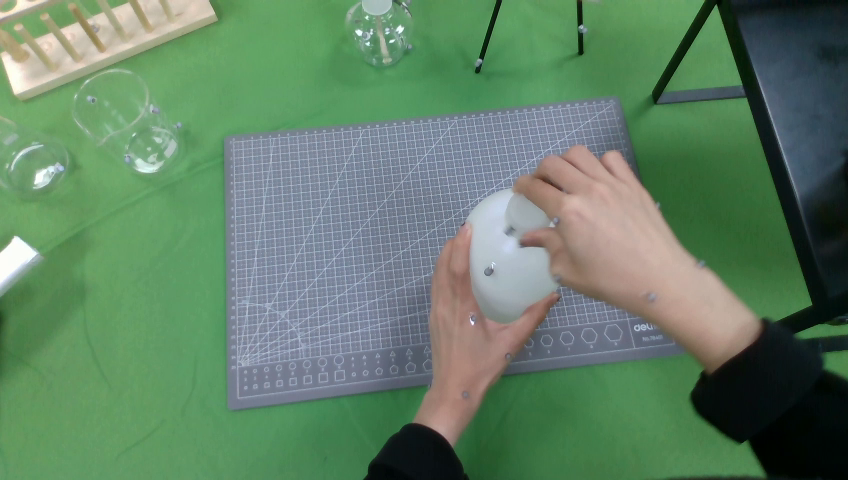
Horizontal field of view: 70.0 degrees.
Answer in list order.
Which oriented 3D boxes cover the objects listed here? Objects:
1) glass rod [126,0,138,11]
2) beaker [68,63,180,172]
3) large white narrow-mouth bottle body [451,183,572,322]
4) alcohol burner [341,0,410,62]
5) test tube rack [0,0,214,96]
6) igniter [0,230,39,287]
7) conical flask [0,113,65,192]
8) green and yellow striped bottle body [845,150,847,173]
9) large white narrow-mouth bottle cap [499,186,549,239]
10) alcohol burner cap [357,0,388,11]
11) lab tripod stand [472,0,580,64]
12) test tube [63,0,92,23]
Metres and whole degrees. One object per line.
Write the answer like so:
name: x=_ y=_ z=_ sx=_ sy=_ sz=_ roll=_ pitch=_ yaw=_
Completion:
glass rod: x=-0.356 y=-0.318 z=0.633 sx=0.008 sy=0.201 sz=0.008 roll=-3 pitch=65 yaw=6
beaker: x=-0.305 y=-0.119 z=0.628 sx=0.074 sy=0.101 sz=0.083 roll=8 pitch=71 yaw=3
large white narrow-mouth bottle body: x=0.077 y=0.007 z=0.535 sx=0.102 sy=0.196 sz=0.101 roll=0 pitch=72 yaw=1
alcohol burner: x=-0.055 y=-0.255 z=0.671 sx=0.078 sy=0.120 sz=0.077 roll=1 pitch=69 yaw=-1
test tube rack: x=-0.375 y=-0.259 z=0.683 sx=0.242 sy=0.086 sz=0.066 roll=-27 pitch=72 yaw=-10
igniter: x=-0.465 y=0.101 z=0.537 sx=0.057 sy=0.025 sz=0.276 roll=36 pitch=71 yaw=9
conical flask: x=-0.429 y=-0.105 z=0.609 sx=0.075 sy=0.122 sz=0.075 roll=0 pitch=70 yaw=0
green and yellow striped bottle body: x=0.358 y=-0.075 z=0.417 sx=0.063 sy=0.120 sz=0.063 roll=0 pitch=70 yaw=0
large white narrow-mouth bottle cap: x=0.075 y=-0.020 z=0.451 sx=0.038 sy=0.024 sz=0.037 roll=0 pitch=72 yaw=0
alcohol burner cap: x=-0.056 y=-0.269 z=0.636 sx=0.034 sy=0.048 sz=0.033 roll=0 pitch=69 yaw=-1
lab tripod stand: x=0.115 y=-0.272 z=0.667 sx=0.148 sy=0.132 sz=0.147 roll=1 pitch=69 yaw=-1
test tube: x=-0.398 y=-0.285 z=0.639 sx=0.017 sy=0.151 sz=0.017 roll=-1 pitch=67 yaw=4
